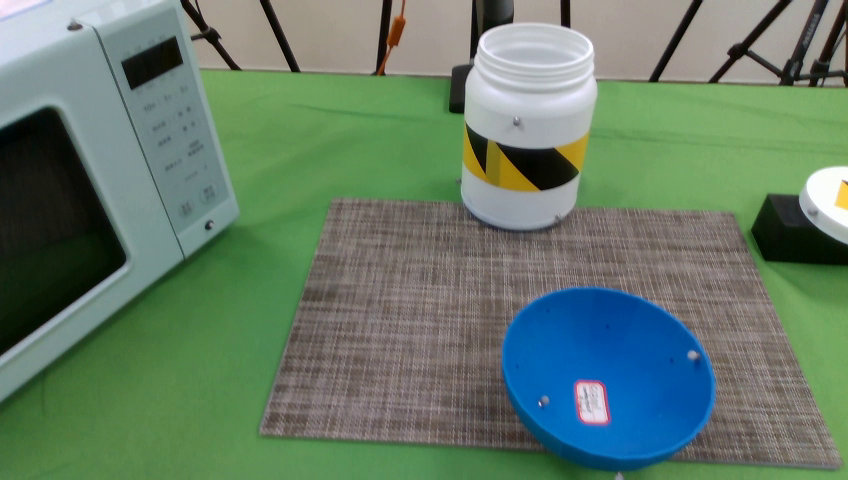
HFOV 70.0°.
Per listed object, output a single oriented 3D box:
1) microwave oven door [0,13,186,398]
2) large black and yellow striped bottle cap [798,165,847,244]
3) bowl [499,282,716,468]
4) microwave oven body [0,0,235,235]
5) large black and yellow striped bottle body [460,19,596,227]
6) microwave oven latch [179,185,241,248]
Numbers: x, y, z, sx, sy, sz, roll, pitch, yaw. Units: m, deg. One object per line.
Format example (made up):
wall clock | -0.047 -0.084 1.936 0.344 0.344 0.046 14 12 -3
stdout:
microwave oven door | -0.343 0.025 0.416 0.039 0.246 0.355 23 48 23
large black and yellow striped bottle cap | 0.433 -0.034 0.594 0.115 0.019 0.114 -1 43 1
bowl | 0.130 0.113 0.462 0.151 0.077 0.150 0 43 1
microwave oven body | -0.445 -0.048 0.501 0.324 0.262 0.440 23 49 22
large black and yellow striped bottle body | 0.105 -0.121 0.633 0.131 0.185 0.129 0 40 0
microwave oven latch | -0.225 -0.028 0.621 0.030 0.030 0.079 25 50 23
